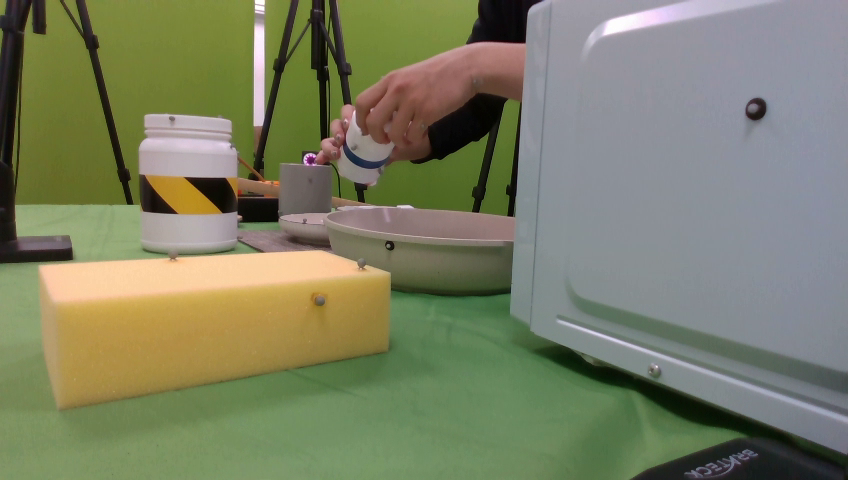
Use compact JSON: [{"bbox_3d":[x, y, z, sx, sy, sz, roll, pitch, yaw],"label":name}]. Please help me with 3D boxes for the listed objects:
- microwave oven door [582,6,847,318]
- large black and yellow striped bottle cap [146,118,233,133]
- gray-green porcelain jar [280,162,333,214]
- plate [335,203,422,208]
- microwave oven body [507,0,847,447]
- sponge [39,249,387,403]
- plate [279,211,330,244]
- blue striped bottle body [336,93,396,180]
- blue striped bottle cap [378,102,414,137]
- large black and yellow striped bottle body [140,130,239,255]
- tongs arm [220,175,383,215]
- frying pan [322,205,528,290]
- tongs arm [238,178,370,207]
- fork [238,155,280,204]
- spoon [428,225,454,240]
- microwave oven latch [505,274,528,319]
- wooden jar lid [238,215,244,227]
[{"bbox_3d":[0.295,-0.067,0.569,0.358,0.243,0.039,-3,8,-31],"label":"microwave oven door"},{"bbox_3d":[-0.333,-0.163,0.861,0.115,0.019,0.115,1,9,0],"label":"large black and yellow striped bottle cap"},{"bbox_3d":[-0.238,-0.092,1.221,0.106,0.126,0.106,2,7,0],"label":"gray-green porcelain jar"},{"bbox_3d":[-0.089,-0.053,1.309,0.208,0.039,0.207,2,8,0],"label":"plate"},{"bbox_3d":[0.331,-0.042,0.425,0.444,0.260,0.324,-2,8,-31],"label":"microwave oven body"},{"bbox_3d":[-0.142,0.047,0.419,0.208,0.061,0.117,-3,8,-37],"label":"sponge"},{"bbox_3d":[-0.139,-0.022,1.021,0.209,0.038,0.209,2,8,0],"label":"plate"},{"bbox_3d":[-0.068,-0.131,0.756,0.063,0.063,0.120,-1,-25,-21],"label":"blue striped bottle body"},{"bbox_3d":[-0.033,-0.143,0.713,0.044,0.020,0.044,3,47,-3],"label":"blue striped bottle cap"},{"bbox_3d":[-0.336,-0.078,0.871,0.131,0.184,0.130,2,8,0],"label":"large black and yellow striped bottle body"},{"bbox_3d":[-0.285,-0.105,1.445,0.389,0.027,0.028,10,-3,-23],"label":"tongs arm"},{"bbox_3d":[0.110,-0.017,0.799,0.490,0.102,0.305,-12,15,-30],"label":"frying pan"},{"bbox_3d":[-0.241,-0.095,1.373,0.387,0.026,0.050,9,0,-37],"label":"tongs arm"},{"bbox_3d":[-0.396,-0.143,1.486,0.028,0.018,0.208,19,-26,44],"label":"fork"},{"bbox_3d":[0.024,-0.019,1.124,0.042,0.021,0.193,-17,9,-4],"label":"spoon"},{"bbox_3d":[0.100,0.041,0.471,0.079,0.029,0.030,-1,8,-28],"label":"microwave oven latch"},{"bbox_3d":[-0.404,-0.037,1.169,0.108,0.020,0.108,3,7,0],"label":"wooden jar lid"}]
